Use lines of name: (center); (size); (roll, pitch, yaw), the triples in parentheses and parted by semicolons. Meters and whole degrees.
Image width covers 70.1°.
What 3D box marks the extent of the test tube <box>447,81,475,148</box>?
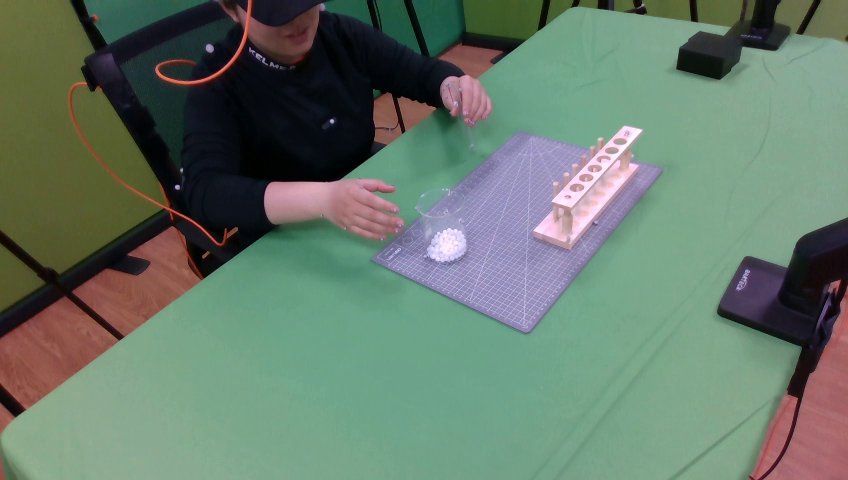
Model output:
test tube: (0.069, -0.225, 1.101); (0.017, 0.151, 0.017); (-12, 47, 13)

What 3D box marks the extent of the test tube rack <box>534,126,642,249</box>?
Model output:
test tube rack: (0.271, -0.095, 0.990); (0.066, 0.085, 0.243); (23, 49, 33)

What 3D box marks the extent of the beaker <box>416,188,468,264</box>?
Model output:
beaker: (0.032, -0.021, 0.937); (0.073, 0.101, 0.084); (9, 42, 20)
